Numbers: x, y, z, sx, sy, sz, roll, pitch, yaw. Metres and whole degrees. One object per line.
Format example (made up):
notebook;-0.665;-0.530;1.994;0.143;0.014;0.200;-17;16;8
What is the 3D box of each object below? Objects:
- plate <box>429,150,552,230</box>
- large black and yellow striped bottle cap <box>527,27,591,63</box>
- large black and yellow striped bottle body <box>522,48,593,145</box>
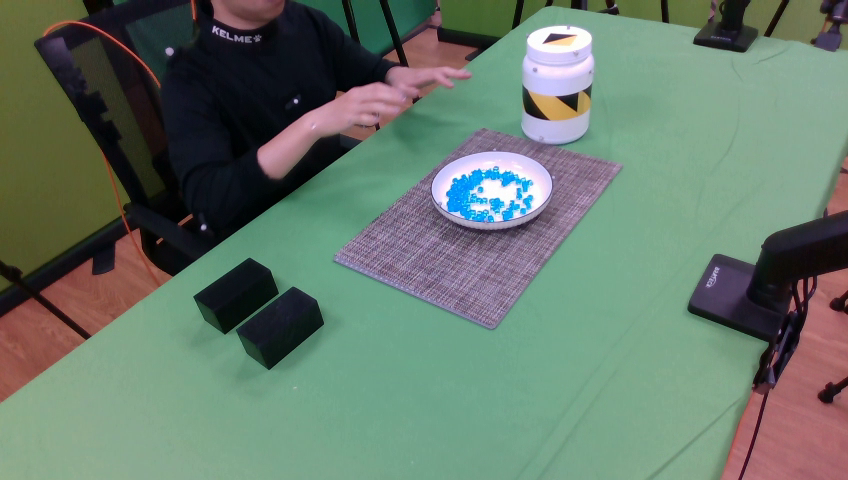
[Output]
plate;0.113;-0.082;1.032;0.207;0.039;0.206;-4;41;4
large black and yellow striped bottle cap;0.244;-0.353;1.092;0.115;0.019;0.114;-4;42;4
large black and yellow striped bottle body;0.251;-0.289;1.146;0.131;0.185;0.130;-4;40;4
